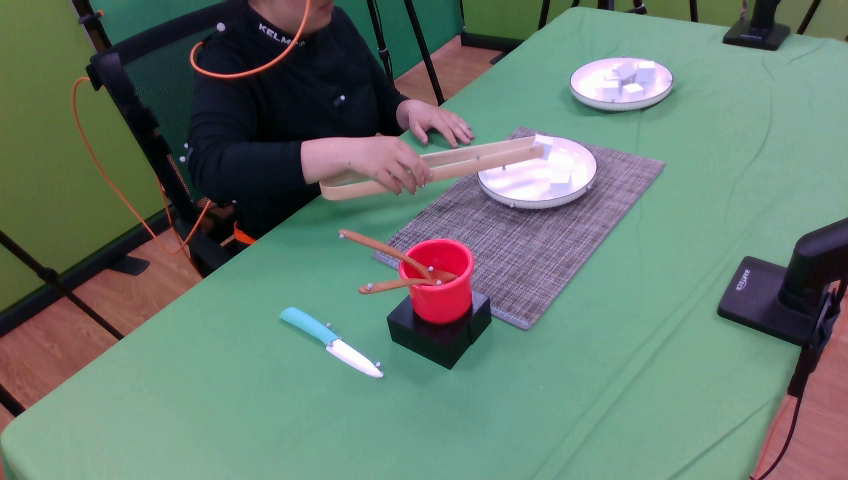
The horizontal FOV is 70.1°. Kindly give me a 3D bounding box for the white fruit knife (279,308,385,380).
[{"bbox_3d":[-0.130,0.143,0.845,0.205,0.016,0.027,25,79,32],"label":"white fruit knife"}]

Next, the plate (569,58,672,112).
[{"bbox_3d":[0.411,-0.323,1.274,0.209,0.038,0.208,-5,41,5],"label":"plate"}]

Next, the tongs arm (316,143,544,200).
[{"bbox_3d":[0.013,-0.120,1.021,0.386,0.026,0.050,-14,37,-9],"label":"tongs arm"}]

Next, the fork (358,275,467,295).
[{"bbox_3d":[-0.009,0.056,0.739,0.028,0.018,0.209,48,23,26],"label":"fork"}]

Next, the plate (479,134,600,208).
[{"bbox_3d":[0.202,-0.117,1.065,0.207,0.039,0.206,-5,40,5],"label":"plate"}]

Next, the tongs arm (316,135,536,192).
[{"bbox_3d":[0.009,-0.134,1.041,0.388,0.028,0.028,-12,40,-6],"label":"tongs arm"}]

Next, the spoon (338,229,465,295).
[{"bbox_3d":[-0.025,0.026,0.776,0.021,0.195,0.041,-41,34,32],"label":"spoon"}]
